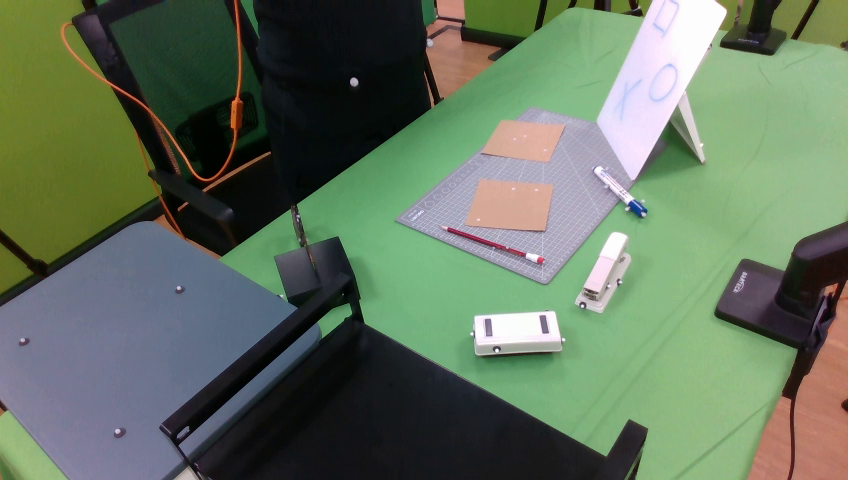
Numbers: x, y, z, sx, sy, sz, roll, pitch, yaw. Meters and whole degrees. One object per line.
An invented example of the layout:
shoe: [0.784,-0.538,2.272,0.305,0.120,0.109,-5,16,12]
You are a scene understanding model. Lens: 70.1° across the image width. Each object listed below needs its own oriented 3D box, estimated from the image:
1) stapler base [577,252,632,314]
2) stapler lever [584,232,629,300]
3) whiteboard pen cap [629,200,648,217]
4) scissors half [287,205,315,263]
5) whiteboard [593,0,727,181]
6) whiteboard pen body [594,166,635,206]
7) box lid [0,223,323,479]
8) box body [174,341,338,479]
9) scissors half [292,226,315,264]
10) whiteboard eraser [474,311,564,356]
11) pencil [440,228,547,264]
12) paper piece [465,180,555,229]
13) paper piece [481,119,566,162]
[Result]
stapler base: [0.264,0.051,0.875,0.041,0.024,0.131,16,47,30]
stapler lever: [0.260,0.034,0.858,0.026,0.040,0.118,16,46,30]
whiteboard pen cap: [0.348,-0.052,0.984,0.018,0.018,0.033,-18,41,-12]
scissors half: [-0.191,-0.010,0.945,0.013,0.040,0.173,-19,38,-15]
whiteboard: [0.452,-0.272,1.056,0.144,0.305,0.216,9,38,-12]
whiteboard pen body: [0.330,-0.085,1.027,0.017,0.017,0.139,-17,42,-10]
box lid: [-0.318,0.109,0.671,0.368,0.015,0.264,24,50,31]
box body: [-0.311,0.165,0.720,0.361,0.161,0.255,23,49,32]
scissors half: [-0.188,0.007,0.955,0.013,0.040,0.174,-24,23,-12]
whiteboard eraser: [0.123,0.125,0.794,0.113,0.042,0.055,-5,38,3]
pencil: [0.105,0.006,0.958,0.192,0.012,0.012,18,46,30]
paper piece: [0.149,-0.062,1.035,0.137,0.009,0.136,4,37,17]
paper piece: [0.197,-0.199,1.188,0.135,0.004,0.135,11,44,21]
